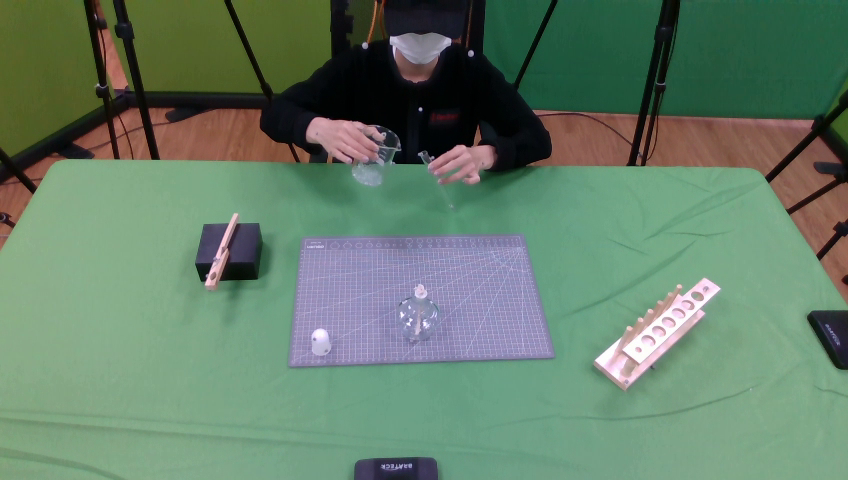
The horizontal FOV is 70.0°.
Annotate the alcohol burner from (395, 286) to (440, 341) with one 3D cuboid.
[{"bbox_3d":[-0.010,0.116,1.018,0.078,0.119,0.077,3,47,-3],"label":"alcohol burner"}]

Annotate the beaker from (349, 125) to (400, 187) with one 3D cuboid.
[{"bbox_3d":[-0.097,-0.158,1.166,0.084,0.100,0.074,28,37,4],"label":"beaker"}]

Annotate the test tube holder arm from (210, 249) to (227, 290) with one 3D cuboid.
[{"bbox_3d":[-0.359,0.050,1.059,0.010,0.015,0.087,8,45,-8],"label":"test tube holder arm"}]

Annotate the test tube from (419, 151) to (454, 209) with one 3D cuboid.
[{"bbox_3d":[0.026,-0.117,1.204,0.017,0.151,0.017,-17,41,16],"label":"test tube"}]

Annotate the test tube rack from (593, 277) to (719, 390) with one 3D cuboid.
[{"bbox_3d":[0.401,0.148,1.043,0.242,0.085,0.066,-30,55,-29],"label":"test tube rack"}]

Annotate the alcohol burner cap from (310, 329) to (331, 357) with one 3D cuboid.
[{"bbox_3d":[-0.173,0.168,1.005,0.034,0.048,0.033,2,46,-2],"label":"alcohol burner cap"}]

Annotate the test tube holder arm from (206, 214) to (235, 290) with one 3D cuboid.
[{"bbox_3d":[-0.364,0.017,1.090,0.013,0.015,0.177,7,45,-8],"label":"test tube holder arm"}]
